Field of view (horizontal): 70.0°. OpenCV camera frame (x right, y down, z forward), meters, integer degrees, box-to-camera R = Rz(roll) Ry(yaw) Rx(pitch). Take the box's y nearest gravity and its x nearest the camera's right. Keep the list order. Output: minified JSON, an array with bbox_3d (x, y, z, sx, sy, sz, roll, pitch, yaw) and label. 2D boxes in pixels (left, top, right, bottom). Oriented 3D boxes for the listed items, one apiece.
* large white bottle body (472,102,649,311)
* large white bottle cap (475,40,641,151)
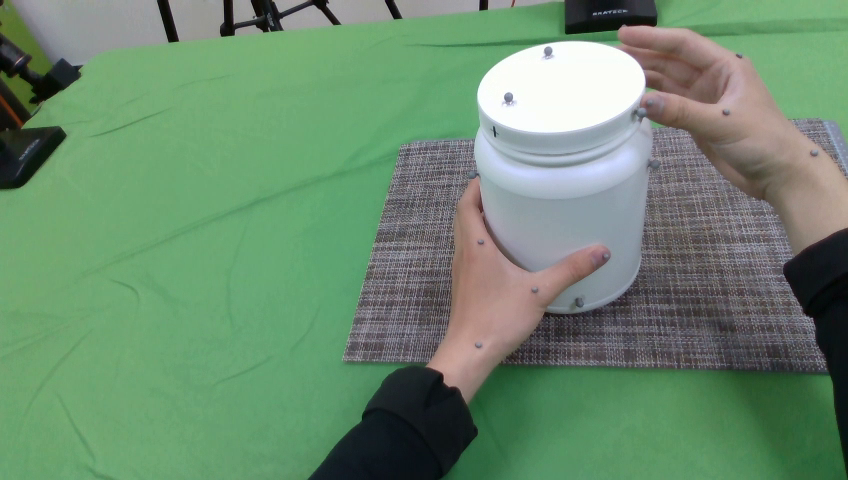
[{"bbox_3d":[0.109,-0.045,0.488,0.130,0.186,0.129,-7,46,8],"label":"large white bottle body"},{"bbox_3d":[0.093,-0.104,0.427,0.115,0.018,0.113,-7,46,8],"label":"large white bottle cap"}]
